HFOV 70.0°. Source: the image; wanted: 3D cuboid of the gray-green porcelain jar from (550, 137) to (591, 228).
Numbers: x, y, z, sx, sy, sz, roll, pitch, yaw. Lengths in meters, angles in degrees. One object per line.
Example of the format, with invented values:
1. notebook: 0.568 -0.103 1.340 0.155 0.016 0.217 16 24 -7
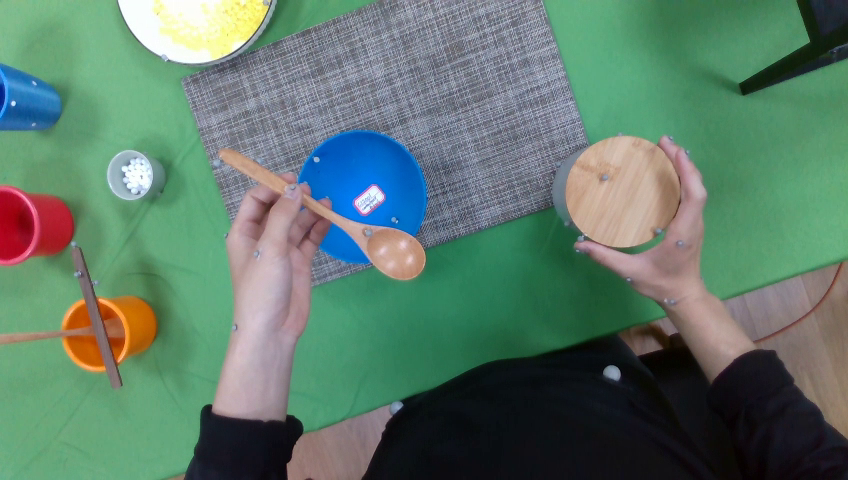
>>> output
1. gray-green porcelain jar: 0.194 -0.060 0.655 0.106 0.126 0.106 0 96 4

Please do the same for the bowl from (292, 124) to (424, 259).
1. bowl: -0.070 -0.056 0.709 0.151 0.077 0.151 0 94 7

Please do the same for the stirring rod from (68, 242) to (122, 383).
1. stirring rod: -0.392 0.087 0.722 0.014 0.006 0.176 -16 92 6

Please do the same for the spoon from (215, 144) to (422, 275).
1. spoon: -0.087 -0.029 0.510 0.194 0.021 0.041 31 96 -13

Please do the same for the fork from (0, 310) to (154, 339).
1. fork: -0.440 0.106 0.732 0.208 0.018 0.028 -2 97 -36

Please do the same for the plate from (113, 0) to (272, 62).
1. plate: -0.278 -0.320 0.738 0.209 0.038 0.209 0 94 6

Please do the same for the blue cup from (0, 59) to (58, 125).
1. blue cup: -0.513 -0.179 0.743 0.092 0.100 0.092 1 95 8

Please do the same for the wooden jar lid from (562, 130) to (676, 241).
1. wooden jar lid: 0.189 -0.053 0.593 0.108 0.020 0.108 0 95 5

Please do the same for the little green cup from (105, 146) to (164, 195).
1. little green cup: -0.363 -0.086 0.764 0.061 0.038 0.061 1 95 7
